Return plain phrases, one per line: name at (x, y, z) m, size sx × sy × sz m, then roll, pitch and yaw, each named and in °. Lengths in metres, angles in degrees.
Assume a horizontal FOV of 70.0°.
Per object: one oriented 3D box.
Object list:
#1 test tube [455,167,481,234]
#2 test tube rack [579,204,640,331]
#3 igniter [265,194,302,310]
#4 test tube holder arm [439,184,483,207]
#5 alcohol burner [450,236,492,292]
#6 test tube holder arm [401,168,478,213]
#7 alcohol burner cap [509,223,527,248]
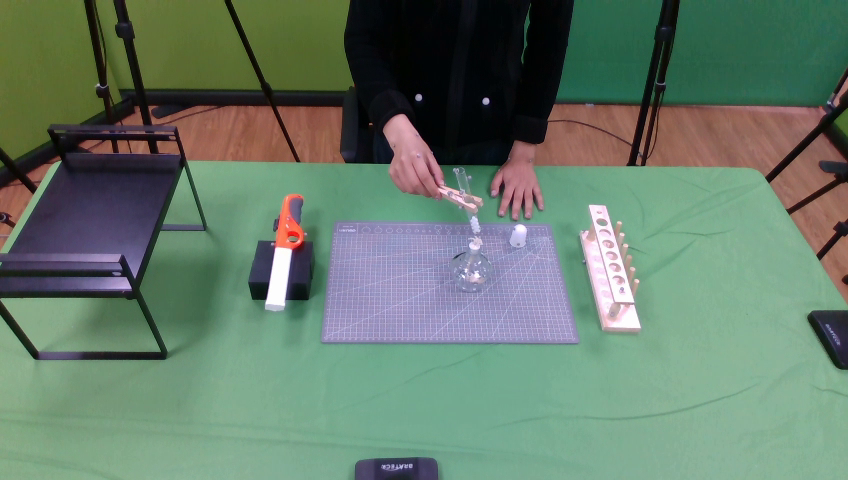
test tube at (0.073, -0.061, 0.992) m, size 0.017 × 0.151 × 0.017 m, roll -9°, pitch 48°, yaw 11°
test tube rack at (0.353, 0.047, 1.137) m, size 0.067 × 0.085 × 0.241 m, roll 2°, pitch 46°, yaw -2°
igniter at (-0.253, 0.012, 1.099) m, size 0.057 × 0.025 × 0.274 m, roll 9°, pitch 46°, yaw -12°
test tube holder arm at (0.059, -0.074, 1.005) m, size 0.087 × 0.015 × 0.010 m, roll 22°, pitch 59°, yaw 32°
alcohol burner at (0.087, 0.038, 1.101) m, size 0.078 × 0.119 × 0.077 m, roll 3°, pitch 45°, yaw -2°
test tube holder arm at (0.023, -0.087, 1.029) m, size 0.177 × 0.015 × 0.013 m, roll 30°, pitch 63°, yaw 36°
alcohol burner cap at (0.189, -0.011, 1.206) m, size 0.034 × 0.048 × 0.033 m, roll 1°, pitch 45°, yaw -1°
